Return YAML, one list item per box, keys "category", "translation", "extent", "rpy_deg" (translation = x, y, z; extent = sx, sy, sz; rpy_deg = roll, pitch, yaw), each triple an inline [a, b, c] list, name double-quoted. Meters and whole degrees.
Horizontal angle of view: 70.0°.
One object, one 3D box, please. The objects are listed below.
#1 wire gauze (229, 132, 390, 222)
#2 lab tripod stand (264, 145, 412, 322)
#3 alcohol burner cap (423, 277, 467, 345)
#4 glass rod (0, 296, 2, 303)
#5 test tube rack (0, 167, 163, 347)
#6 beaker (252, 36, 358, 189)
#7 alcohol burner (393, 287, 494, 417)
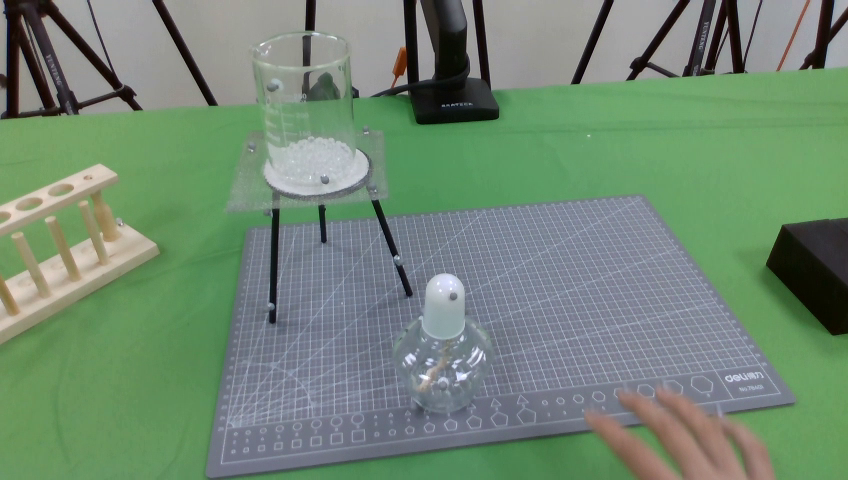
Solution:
- category: "wire gauze"
  translation: [-0.091, -0.058, 0.500]
  extent: [0.121, 0.011, 0.123]
  rpy_deg: [-3, 40, -4]
- category: "lab tripod stand"
  translation: [-0.082, -0.008, 0.544]
  extent: [0.148, 0.132, 0.147]
  rpy_deg: [1, 37, 0]
- category: "alcohol burner cap"
  translation: [0.016, 0.047, 0.429]
  extent: [0.034, 0.048, 0.033]
  rpy_deg: [1, 39, -1]
- category: "glass rod"
  translation: [-0.393, -0.029, 0.508]
  extent: [0.008, 0.201, 0.008]
  rpy_deg: [0, 30, 0]
- category: "test tube rack"
  translation: [-0.370, 0.029, 0.541]
  extent: [0.066, 0.086, 0.242]
  rpy_deg: [26, 44, 30]
- category: "beaker"
  translation: [-0.091, -0.098, 0.472]
  extent: [0.083, 0.101, 0.074]
  rpy_deg: [20, 41, 22]
- category: "alcohol burner"
  translation: [0.015, 0.076, 0.451]
  extent: [0.078, 0.120, 0.077]
  rpy_deg: [1, 40, 0]
